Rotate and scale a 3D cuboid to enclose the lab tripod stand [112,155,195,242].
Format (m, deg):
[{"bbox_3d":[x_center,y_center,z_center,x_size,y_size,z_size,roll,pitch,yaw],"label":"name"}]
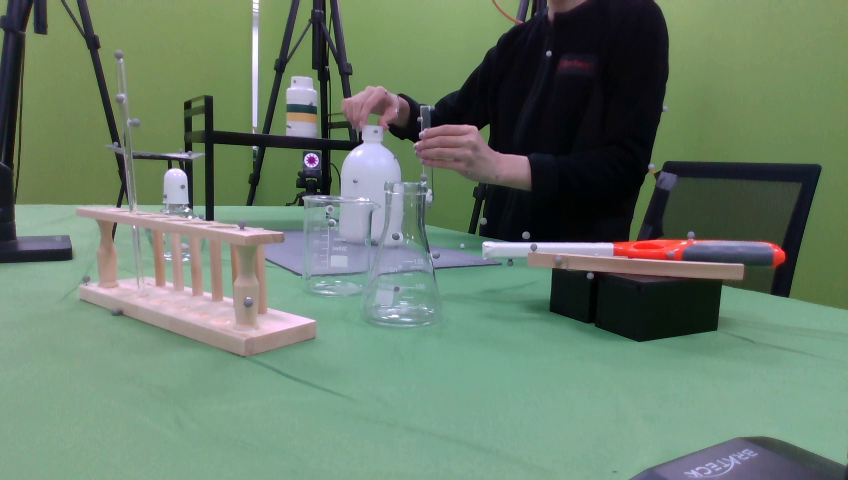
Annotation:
[{"bbox_3d":[-0.405,-0.064,0.931,0.148,0.131,0.148,1,7,0],"label":"lab tripod stand"}]

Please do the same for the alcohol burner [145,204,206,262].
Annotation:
[{"bbox_3d":[-0.321,-0.032,0.788,0.078,0.119,0.078,0,7,0],"label":"alcohol burner"}]

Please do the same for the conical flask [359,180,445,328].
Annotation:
[{"bbox_3d":[-0.017,0.010,0.522,0.075,0.122,0.075,2,7,0],"label":"conical flask"}]

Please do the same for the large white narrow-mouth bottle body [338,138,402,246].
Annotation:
[{"bbox_3d":[-0.088,-0.092,1.009,0.102,0.194,0.102,4,7,0],"label":"large white narrow-mouth bottle body"}]

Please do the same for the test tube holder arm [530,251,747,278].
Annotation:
[{"bbox_3d":[0.182,0.022,0.523,0.178,0.015,0.013,3,7,12],"label":"test tube holder arm"}]

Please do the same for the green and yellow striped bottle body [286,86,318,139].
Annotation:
[{"bbox_3d":[-0.251,-0.270,1.245,0.063,0.119,0.063,2,7,0],"label":"green and yellow striped bottle body"}]

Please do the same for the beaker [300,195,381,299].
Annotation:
[{"bbox_3d":[-0.087,0.006,0.626,0.084,0.100,0.074,1,8,-17],"label":"beaker"}]

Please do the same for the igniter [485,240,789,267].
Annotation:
[{"bbox_3d":[0.197,0.012,0.585,0.276,0.025,0.057,1,5,12],"label":"igniter"}]

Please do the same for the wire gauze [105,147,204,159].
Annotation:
[{"bbox_3d":[-0.407,-0.131,0.929,0.125,0.011,0.121,2,6,-11],"label":"wire gauze"}]

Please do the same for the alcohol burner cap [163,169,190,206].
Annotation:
[{"bbox_3d":[-0.320,-0.068,0.782,0.034,0.048,0.034,1,7,0],"label":"alcohol burner cap"}]

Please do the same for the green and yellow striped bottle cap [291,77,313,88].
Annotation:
[{"bbox_3d":[-0.250,-0.321,1.238,0.045,0.020,0.045,3,6,0],"label":"green and yellow striped bottle cap"}]

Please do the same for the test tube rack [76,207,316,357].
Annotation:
[{"bbox_3d":[-0.196,0.023,0.500,0.241,0.085,0.067,8,9,36],"label":"test tube rack"}]

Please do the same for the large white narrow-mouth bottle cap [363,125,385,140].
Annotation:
[{"bbox_3d":[-0.082,-0.177,0.998,0.038,0.024,0.037,4,7,0],"label":"large white narrow-mouth bottle cap"}]

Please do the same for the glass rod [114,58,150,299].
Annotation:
[{"bbox_3d":[-0.236,-0.044,0.491,0.008,0.199,0.008,0,15,0],"label":"glass rod"}]

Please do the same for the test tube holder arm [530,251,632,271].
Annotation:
[{"bbox_3d":[0.139,0.019,0.538,0.087,0.015,0.010,3,7,13],"label":"test tube holder arm"}]

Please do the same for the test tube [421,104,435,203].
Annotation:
[{"bbox_3d":[0.006,-0.131,0.924,0.017,0.150,0.017,-2,12,1],"label":"test tube"}]
